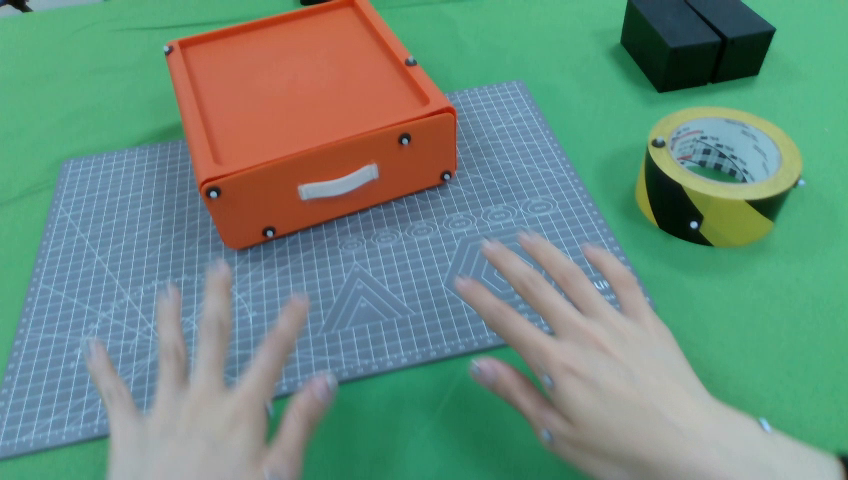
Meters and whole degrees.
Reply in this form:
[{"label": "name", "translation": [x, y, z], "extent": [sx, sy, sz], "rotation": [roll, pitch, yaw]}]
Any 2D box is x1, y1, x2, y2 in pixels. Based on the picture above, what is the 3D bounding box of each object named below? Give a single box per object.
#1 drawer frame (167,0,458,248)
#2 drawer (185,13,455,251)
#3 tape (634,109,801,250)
[{"label": "drawer frame", "translation": [-0.104, -0.113, 0.535], "extent": [0.202, 0.083, 0.211], "rotation": [-20, 49, -13]}, {"label": "drawer", "translation": [-0.102, -0.109, 0.533], "extent": [0.195, 0.074, 0.209], "rotation": [-20, 49, -12]}, {"label": "tape", "translation": [0.228, -0.051, 0.479], "extent": [0.117, 0.053, 0.115], "rotation": [-2, 48, 2]}]
